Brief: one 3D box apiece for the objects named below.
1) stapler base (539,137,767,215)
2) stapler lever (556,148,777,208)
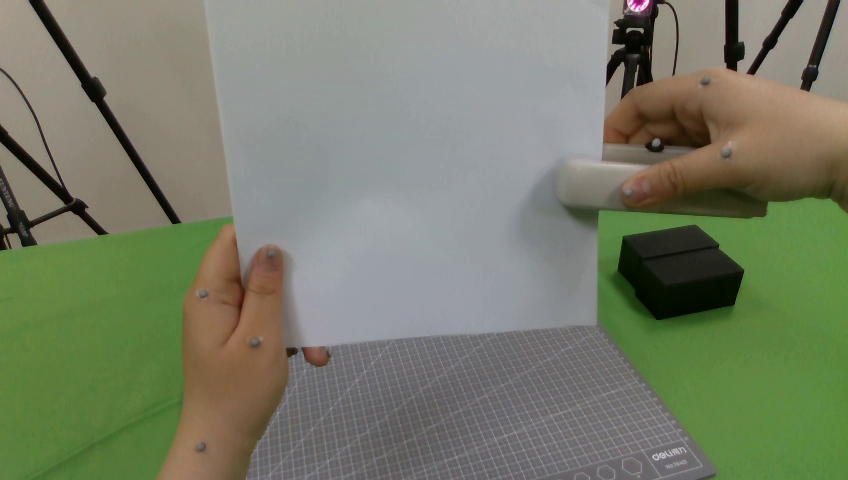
[{"bbox_3d":[0.135,-0.036,0.353,0.130,0.041,0.024,3,14,2],"label":"stapler base"},{"bbox_3d":[0.134,-0.034,0.340,0.118,0.027,0.040,6,14,13],"label":"stapler lever"}]
